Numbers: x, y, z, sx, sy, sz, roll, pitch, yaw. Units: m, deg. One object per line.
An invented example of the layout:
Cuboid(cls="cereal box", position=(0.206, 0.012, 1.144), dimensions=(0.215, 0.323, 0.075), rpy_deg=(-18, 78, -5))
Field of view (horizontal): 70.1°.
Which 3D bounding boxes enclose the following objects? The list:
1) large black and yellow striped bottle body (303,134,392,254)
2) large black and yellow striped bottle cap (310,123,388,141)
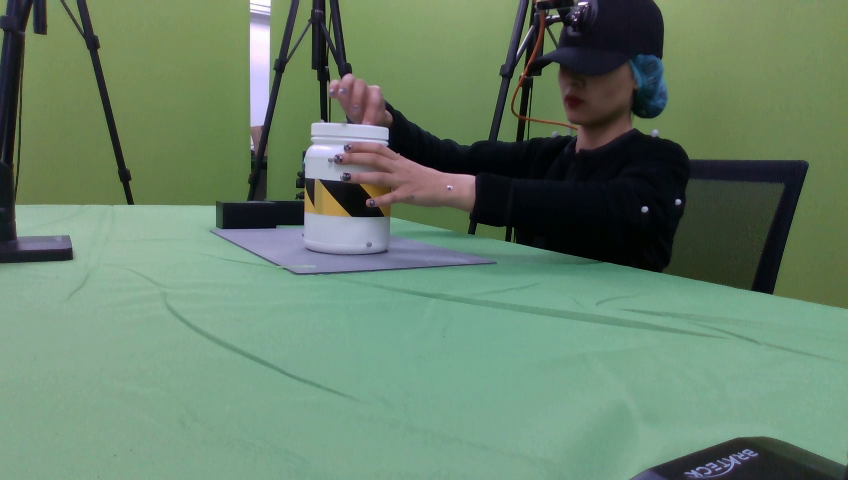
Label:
Cuboid(cls="large black and yellow striped bottle body", position=(-0.114, -0.077, 0.912), dimensions=(0.131, 0.184, 0.130), rpy_deg=(3, 8, 0))
Cuboid(cls="large black and yellow striped bottle cap", position=(-0.111, -0.161, 0.900), dimensions=(0.115, 0.019, 0.115), rpy_deg=(4, 7, 0))
